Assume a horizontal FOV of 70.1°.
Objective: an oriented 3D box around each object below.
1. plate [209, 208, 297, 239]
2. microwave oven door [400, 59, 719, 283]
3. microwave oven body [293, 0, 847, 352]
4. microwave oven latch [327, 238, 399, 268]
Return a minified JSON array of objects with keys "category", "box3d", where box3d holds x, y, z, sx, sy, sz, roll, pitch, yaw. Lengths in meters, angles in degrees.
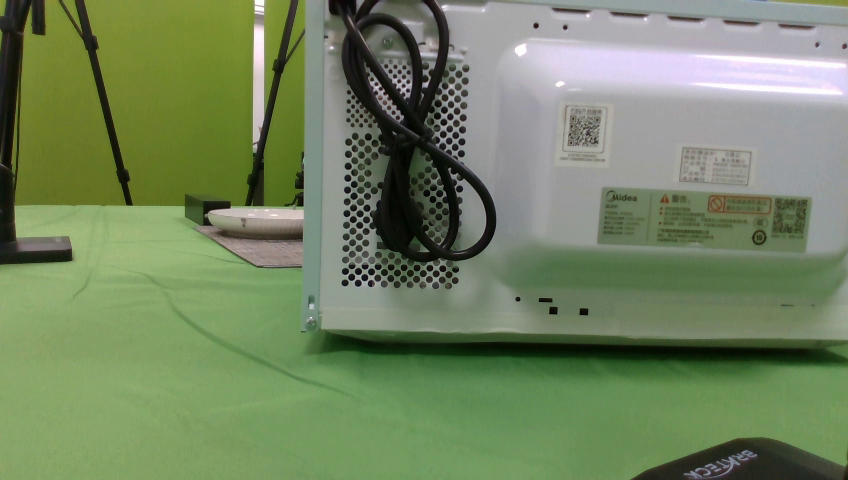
[{"category":"plate","box3d":[-0.271,-0.029,1.074,0.208,0.039,0.207,3,7,0]},{"category":"microwave oven door","box3d":[0.154,-0.078,0.706,0.356,0.243,0.039,2,8,-2]},{"category":"microwave oven body","box3d":[0.122,-0.055,0.550,0.442,0.260,0.325,3,7,-5]},{"category":"microwave oven latch","box3d":[-0.069,0.015,0.694,0.079,0.029,0.030,3,7,-3]}]
